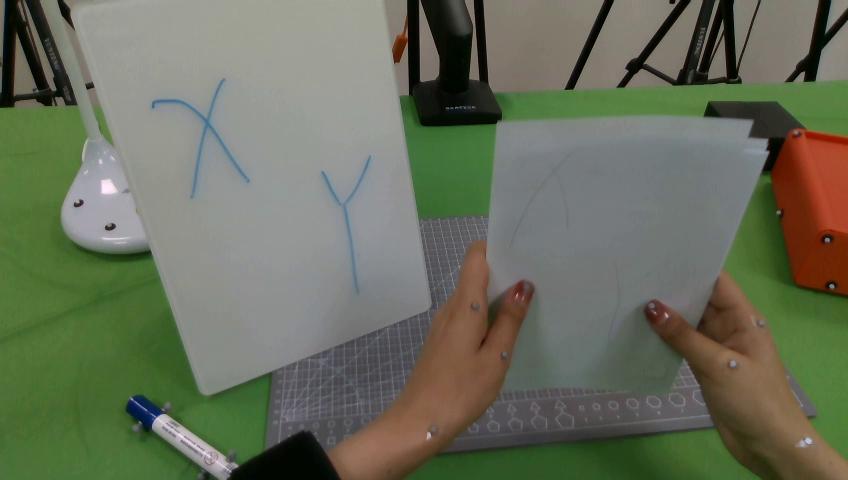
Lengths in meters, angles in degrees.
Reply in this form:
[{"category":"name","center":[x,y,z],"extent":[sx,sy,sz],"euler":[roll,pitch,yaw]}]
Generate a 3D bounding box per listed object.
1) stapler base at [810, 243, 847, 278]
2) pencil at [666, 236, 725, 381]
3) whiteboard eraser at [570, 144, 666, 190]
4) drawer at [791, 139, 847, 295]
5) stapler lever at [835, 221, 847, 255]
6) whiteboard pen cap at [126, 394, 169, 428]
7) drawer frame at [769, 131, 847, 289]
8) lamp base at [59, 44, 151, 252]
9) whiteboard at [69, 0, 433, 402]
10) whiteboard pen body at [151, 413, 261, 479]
[{"category":"stapler base","center":[0.474,0.024,0.625],"extent":[0.130,0.024,0.041],"euler":[11,54,10]},{"category":"pencil","center":[0.265,0.060,0.595],"extent":[0.012,0.012,0.192],"euler":[3,41,2]},{"category":"whiteboard eraser","center":[0.241,-0.091,0.759],"extent":[0.112,0.042,0.055],"euler":[7,41,5]},{"category":"drawer","center":[0.501,-0.020,0.653],"extent":[0.194,0.074,0.210],"euler":[12,40,13]},{"category":"stapler lever","center":[0.475,0.007,0.605],"extent":[0.118,0.040,0.026],"euler":[11,54,9]},{"category":"whiteboard pen cap","center":[-0.217,0.135,0.476],"extent":[0.033,0.018,0.018],"euler":[22,43,26]},{"category":"drawer frame","center":[0.501,-0.023,0.655],"extent":[0.201,0.083,0.212],"euler":[11,39,12]},{"category":"lamp base","center":[-0.326,-0.104,0.636],"extent":[0.178,0.182,0.160],"euler":[23,43,27]},{"category":"whiteboard","center":[-0.137,-0.057,0.535],"extent":[0.218,0.307,0.142],"euler":[-18,24,-22]},{"category":"whiteboard pen body","center":[-0.168,0.157,0.452],"extent":[0.140,0.017,0.017],"euler":[23,43,24]}]
